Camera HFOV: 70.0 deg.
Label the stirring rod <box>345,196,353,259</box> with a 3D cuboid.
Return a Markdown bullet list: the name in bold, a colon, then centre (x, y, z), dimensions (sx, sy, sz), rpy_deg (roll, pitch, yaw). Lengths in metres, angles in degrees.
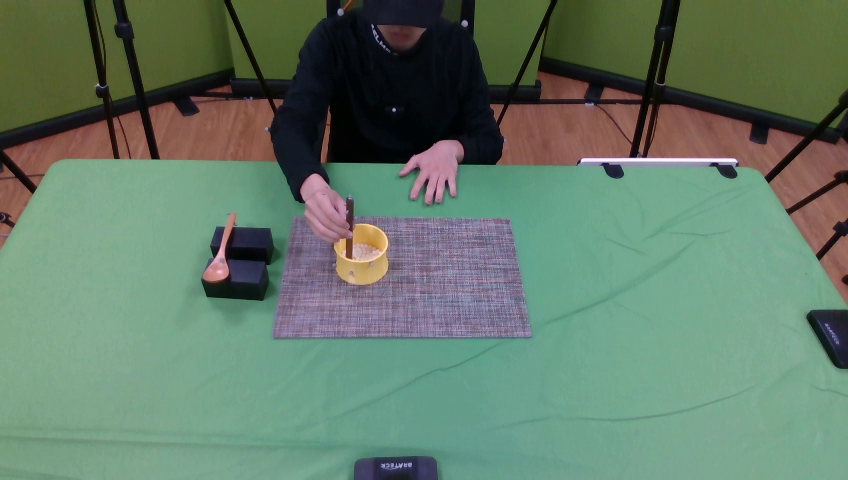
- **stirring rod**: centre (-0.134, -0.014, 1.080), dimensions (0.014, 0.177, 0.006), rpy_deg (25, 50, 14)

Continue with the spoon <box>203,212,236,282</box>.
- **spoon**: centre (-0.361, 0.009, 1.097), dimensions (0.041, 0.022, 0.192), rpy_deg (0, 44, -3)

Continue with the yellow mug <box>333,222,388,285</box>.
- **yellow mug**: centre (-0.126, 0.015, 1.139), dimensions (0.100, 0.064, 0.130), rpy_deg (-24, 51, -24)
